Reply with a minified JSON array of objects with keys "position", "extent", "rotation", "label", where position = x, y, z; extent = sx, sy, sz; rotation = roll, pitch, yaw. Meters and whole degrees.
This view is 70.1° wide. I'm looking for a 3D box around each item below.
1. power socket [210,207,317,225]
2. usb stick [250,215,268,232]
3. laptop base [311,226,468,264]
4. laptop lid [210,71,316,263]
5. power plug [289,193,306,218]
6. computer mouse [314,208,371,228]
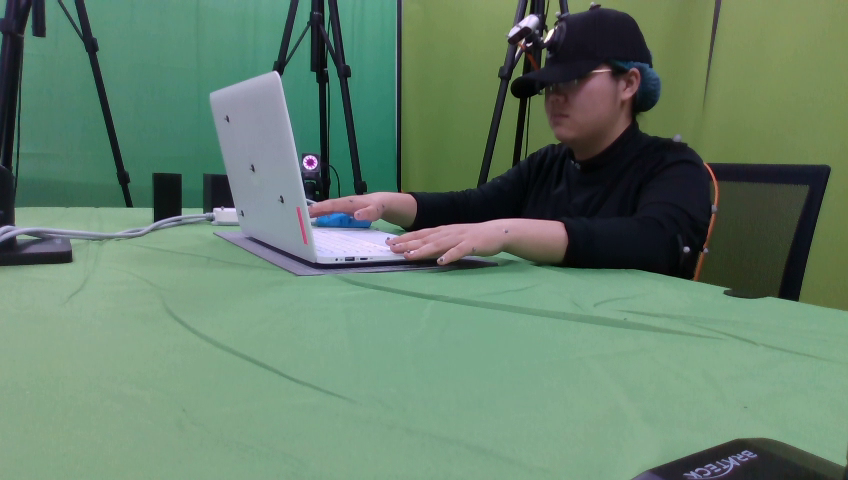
[{"position":[-0.334,-0.051,1.281],"extent":[0.228,0.032,0.072],"rotation":[-1,8,-28],"label":"power socket"},{"position":[-0.290,-0.029,1.070],"extent":[0.021,0.027,0.059],"rotation":[-1,10,-30],"label":"usb stick"},{"position":[-0.123,0.006,0.951],"extent":[0.237,0.023,0.352],"rotation":[3,6,-32],"label":"laptop base"},{"position":[-0.241,-0.104,0.861],"extent":[0.013,0.241,0.355],"rotation":[-16,17,-29],"label":"laptop lid"},{"position":[-0.281,-0.076,1.340],"extent":[0.035,0.052,0.072],"rotation":[3,6,-17],"label":"power plug"},{"position":[-0.173,-0.046,1.284],"extent":[0.118,0.041,0.062],"rotation":[-7,13,-30],"label":"computer mouse"}]
